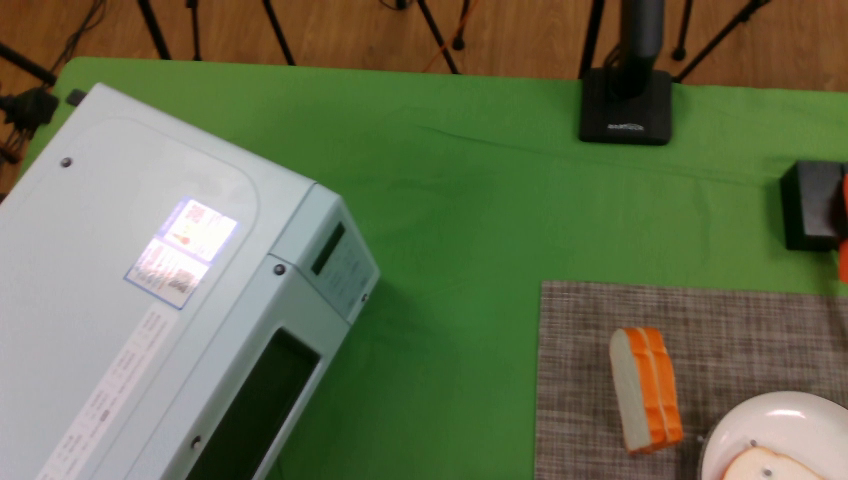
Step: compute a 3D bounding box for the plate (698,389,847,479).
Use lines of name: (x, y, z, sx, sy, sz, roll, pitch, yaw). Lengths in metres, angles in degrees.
plate: (0.395, 0.265, 0.641, 0.207, 0.039, 0.206, -2, 70, 5)

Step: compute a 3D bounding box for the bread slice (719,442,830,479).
bread slice: (0.379, 0.281, 0.634, 0.133, 0.018, 0.106, 27, 72, 17)

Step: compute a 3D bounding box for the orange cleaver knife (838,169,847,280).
orange cleaver knife: (0.499, 0.021, 0.700, 0.012, 0.077, 0.211, 0, 91, 8)

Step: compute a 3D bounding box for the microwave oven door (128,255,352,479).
microwave oven door: (-0.197, 0.203, 0.599, 0.039, 0.245, 0.354, 24, 74, 15)

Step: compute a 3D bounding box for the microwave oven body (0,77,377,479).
microwave oven body: (-0.306, 0.111, 0.649, 0.324, 0.262, 0.440, 25, 75, 13)

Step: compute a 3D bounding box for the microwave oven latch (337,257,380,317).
microwave oven latch: (-0.083, 0.054, 0.750, 0.030, 0.030, 0.079, 27, 75, 14)
